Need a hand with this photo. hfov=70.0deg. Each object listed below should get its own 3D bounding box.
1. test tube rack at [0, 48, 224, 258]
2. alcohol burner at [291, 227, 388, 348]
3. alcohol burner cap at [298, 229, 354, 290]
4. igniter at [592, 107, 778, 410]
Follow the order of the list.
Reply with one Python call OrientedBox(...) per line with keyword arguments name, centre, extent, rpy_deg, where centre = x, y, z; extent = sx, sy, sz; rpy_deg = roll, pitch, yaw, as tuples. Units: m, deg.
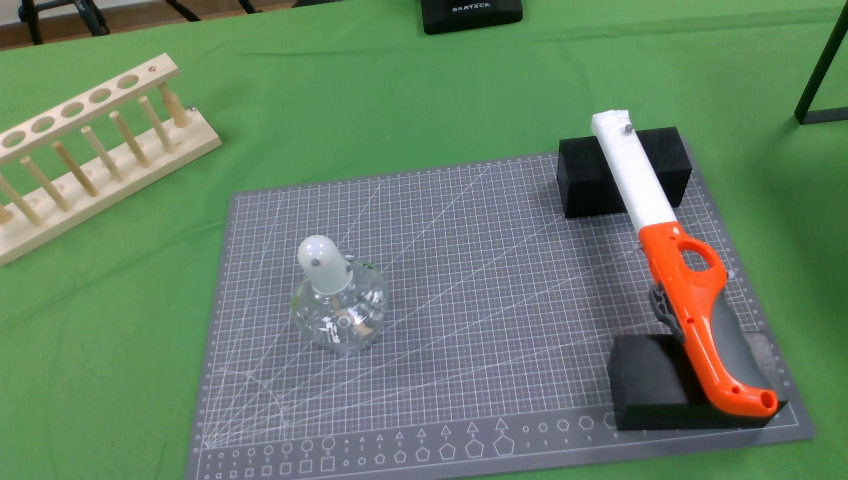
OrientedBox(name="test tube rack", centre=(-0.337, -0.090, 0.608), extent=(0.242, 0.086, 0.066), rpy_deg=(-33, 57, -16))
OrientedBox(name="alcohol burner", centre=(-0.068, 0.032, 0.463), extent=(0.078, 0.120, 0.077), rpy_deg=(-4, 52, 6))
OrientedBox(name="alcohol burner cap", centre=(-0.072, 0.011, 0.435), extent=(0.034, 0.048, 0.033), rpy_deg=(-6, 56, 9))
OrientedBox(name="igniter", centre=(0.180, -0.003, 0.448), extent=(0.057, 0.025, 0.273), rpy_deg=(-10, 52, 2))
